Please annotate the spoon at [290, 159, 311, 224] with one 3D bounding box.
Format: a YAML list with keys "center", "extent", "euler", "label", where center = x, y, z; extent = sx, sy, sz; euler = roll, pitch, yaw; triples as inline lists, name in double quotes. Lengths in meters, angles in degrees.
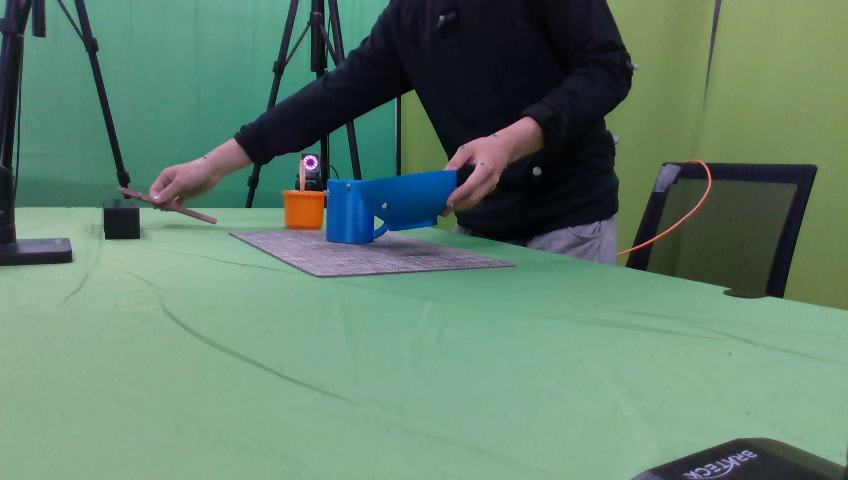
- center: [-0.257, -0.104, 1.265]
  extent: [0.042, 0.193, 0.021]
  euler: [2, -37, -11]
  label: "spoon"

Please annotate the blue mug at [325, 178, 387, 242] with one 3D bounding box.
- center: [-0.111, -0.052, 1.033]
  extent: [0.116, 0.106, 0.082]
  euler: [3, 7, 7]
  label: "blue mug"

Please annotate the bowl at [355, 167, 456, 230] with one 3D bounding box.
- center: [-0.022, -0.058, 0.895]
  extent: [0.151, 0.077, 0.151]
  euler: [-8, 3, 1]
  label: "bowl"

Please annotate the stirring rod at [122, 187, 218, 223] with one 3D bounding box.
- center: [-0.481, -0.066, 1.149]
  extent: [0.177, 0.006, 0.014]
  euler: [21, 41, -26]
  label: "stirring rod"
